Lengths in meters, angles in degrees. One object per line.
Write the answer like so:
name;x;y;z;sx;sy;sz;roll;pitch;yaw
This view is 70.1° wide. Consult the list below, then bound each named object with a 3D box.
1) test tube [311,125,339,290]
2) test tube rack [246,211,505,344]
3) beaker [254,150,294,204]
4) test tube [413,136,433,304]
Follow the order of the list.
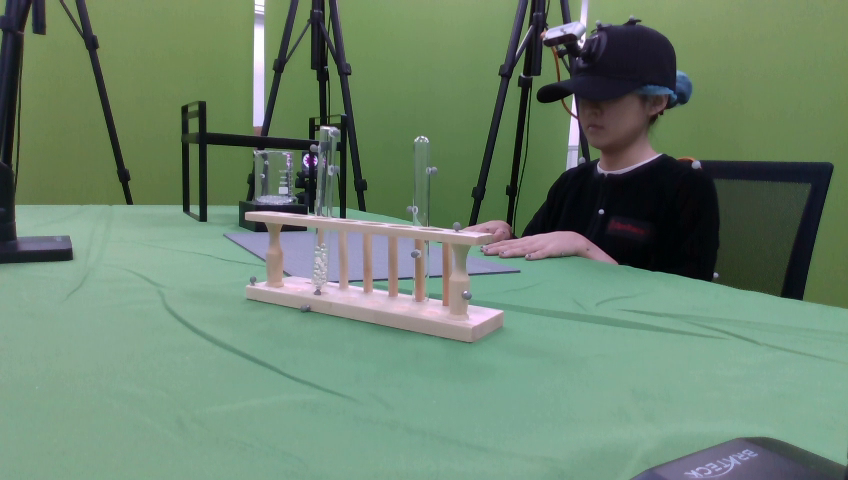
test tube;-0.090;-0.028;0.545;0.017;0.150;0.017;6;11;-1
test tube rack;-0.049;0.025;0.547;0.241;0.085;0.067;7;8;29
beaker;-0.289;-0.120;1.151;0.073;0.100;0.084;8;9;33
test tube;-0.001;-0.016;0.538;0.017;0.150;0.017;1;8;0
